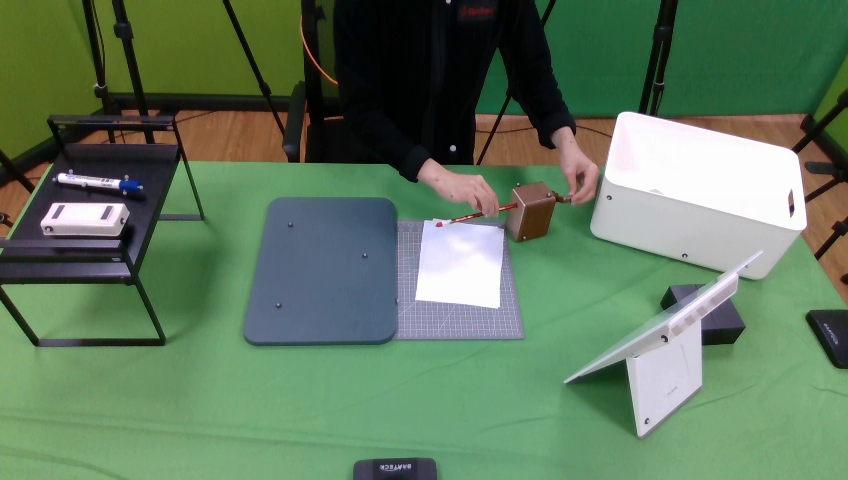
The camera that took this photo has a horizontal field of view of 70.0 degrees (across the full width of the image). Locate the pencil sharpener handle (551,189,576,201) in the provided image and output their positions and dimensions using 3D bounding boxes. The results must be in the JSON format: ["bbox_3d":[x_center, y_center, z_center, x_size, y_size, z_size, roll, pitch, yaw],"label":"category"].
[{"bbox_3d":[0.268,-0.086,1.191,0.031,0.036,0.067,-13,14,-16],"label":"pencil sharpener handle"}]

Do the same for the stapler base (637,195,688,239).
[{"bbox_3d":[0.507,-0.055,1.280,0.041,0.024,0.129,-14,47,-19],"label":"stapler base"}]

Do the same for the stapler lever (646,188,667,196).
[{"bbox_3d":[0.507,-0.075,1.262,0.027,0.040,0.117,-14,46,-19],"label":"stapler lever"}]

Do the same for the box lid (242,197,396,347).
[{"bbox_3d":[-0.186,0.046,1.147,0.263,0.015,0.369,0,46,-3],"label":"box lid"}]

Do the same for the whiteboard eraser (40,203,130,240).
[{"bbox_3d":[-0.513,-0.028,0.922,0.113,0.042,0.055,1,48,-3],"label":"whiteboard eraser"}]

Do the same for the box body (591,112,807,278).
[{"bbox_3d":[0.540,-0.092,1.229,0.363,0.161,0.253,16,47,11],"label":"box body"}]

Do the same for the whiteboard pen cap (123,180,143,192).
[{"bbox_3d":[-0.479,-0.089,0.993,0.033,0.018,0.018,7,46,14],"label":"whiteboard pen cap"}]

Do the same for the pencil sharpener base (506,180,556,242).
[{"bbox_3d":[0.214,-0.058,1.211,0.077,0.107,0.061,-13,48,-16],"label":"pencil sharpener base"}]

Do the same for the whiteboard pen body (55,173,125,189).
[{"bbox_3d":[-0.539,-0.095,0.998,0.141,0.017,0.017,6,46,6],"label":"whiteboard pen body"}]

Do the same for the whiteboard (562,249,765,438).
[{"bbox_3d":[0.386,0.175,0.905,0.217,0.306,0.143,-26,72,-26],"label":"whiteboard"}]

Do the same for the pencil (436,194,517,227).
[{"bbox_3d":[0.111,-0.060,1.153,0.194,0.012,0.012,-20,51,-14],"label":"pencil"}]
